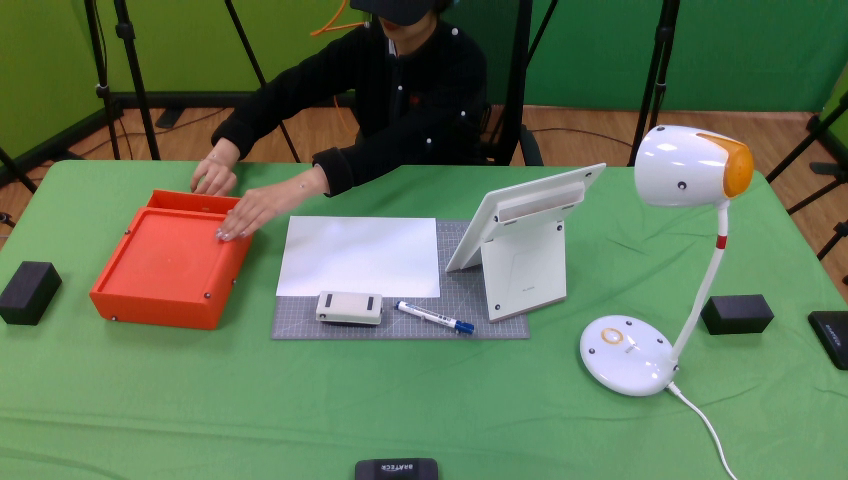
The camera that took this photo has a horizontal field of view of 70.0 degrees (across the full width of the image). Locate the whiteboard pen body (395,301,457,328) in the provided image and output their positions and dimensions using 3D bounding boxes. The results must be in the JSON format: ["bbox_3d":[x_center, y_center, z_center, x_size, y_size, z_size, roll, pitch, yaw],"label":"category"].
[{"bbox_3d":[0.015,0.134,1.064,0.140,0.017,0.017,17,47,16],"label":"whiteboard pen body"}]

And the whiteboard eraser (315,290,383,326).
[{"bbox_3d":[-0.130,0.120,1.054,0.113,0.042,0.055,4,47,0],"label":"whiteboard eraser"}]

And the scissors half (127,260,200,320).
[{"bbox_3d":[-0.458,0.088,1.063,0.175,0.040,0.013,37,54,9],"label":"scissors half"}]

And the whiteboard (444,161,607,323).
[{"bbox_3d":[0.186,0.025,1.029,0.217,0.306,0.143,-14,68,-18],"label":"whiteboard"}]

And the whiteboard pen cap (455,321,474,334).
[{"bbox_3d":[0.069,0.151,1.046,0.033,0.018,0.018,14,47,16],"label":"whiteboard pen cap"}]

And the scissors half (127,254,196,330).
[{"bbox_3d":[-0.462,0.095,1.072,0.175,0.040,0.013,48,48,-3],"label":"scissors half"}]

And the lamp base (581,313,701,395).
[{"bbox_3d":[0.361,0.144,0.972,0.178,0.181,0.160,34,53,23],"label":"lamp base"}]

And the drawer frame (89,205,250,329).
[{"bbox_3d":[-0.441,0.043,1.080,0.202,0.083,0.212,5,47,0],"label":"drawer frame"}]

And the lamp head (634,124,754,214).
[{"bbox_3d":[0.351,-0.089,0.775,0.112,0.113,0.122,-30,30,-28],"label":"lamp head"}]

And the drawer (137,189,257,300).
[{"bbox_3d":[-0.436,0.006,1.117,0.194,0.073,0.210,6,46,1],"label":"drawer"}]
